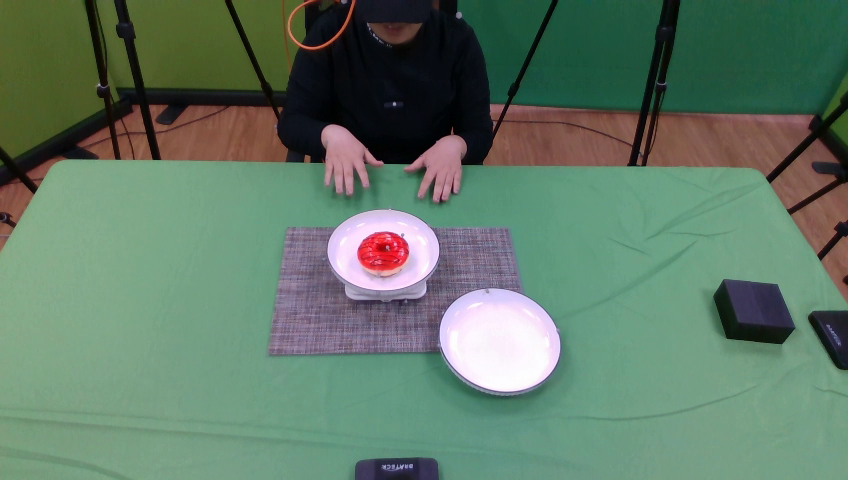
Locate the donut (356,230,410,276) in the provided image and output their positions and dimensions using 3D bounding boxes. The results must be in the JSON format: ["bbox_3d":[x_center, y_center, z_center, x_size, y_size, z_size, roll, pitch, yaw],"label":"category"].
[{"bbox_3d":[-0.073,0.022,1.097,0.099,0.048,0.098,0,45,0],"label":"donut"}]

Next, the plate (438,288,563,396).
[{"bbox_3d":[0.127,0.173,1.025,0.209,0.038,0.208,3,48,-3],"label":"plate"}]

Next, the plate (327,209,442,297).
[{"bbox_3d":[-0.072,0.027,1.109,0.208,0.039,0.206,2,46,-1],"label":"plate"}]

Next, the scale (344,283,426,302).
[{"bbox_3d":[-0.075,0.033,1.149,0.149,0.032,0.199,0,46,-5],"label":"scale"}]
